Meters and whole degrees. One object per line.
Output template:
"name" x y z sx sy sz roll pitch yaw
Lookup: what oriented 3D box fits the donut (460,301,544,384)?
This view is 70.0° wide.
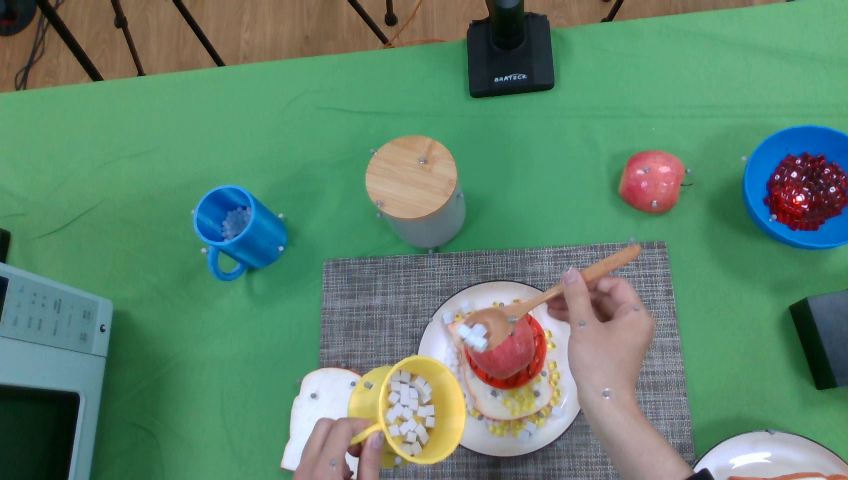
"donut" 0.092 0.121 0.712 0.099 0.048 0.098 -3 74 9

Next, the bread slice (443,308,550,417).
"bread slice" 0.096 0.146 0.740 0.107 0.018 0.133 -20 65 -1

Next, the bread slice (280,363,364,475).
"bread slice" -0.121 0.220 0.758 0.105 0.019 0.131 4 76 9

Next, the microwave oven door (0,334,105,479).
"microwave oven door" -0.463 0.285 0.658 0.039 0.245 0.353 -3 72 9

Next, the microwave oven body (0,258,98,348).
"microwave oven body" -0.606 0.254 0.696 0.325 0.262 0.439 -3 73 8

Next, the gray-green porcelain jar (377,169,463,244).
"gray-green porcelain jar" -0.006 -0.057 0.768 0.106 0.127 0.105 -3 72 9

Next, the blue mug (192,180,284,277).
"blue mug" -0.250 -0.007 0.803 0.082 0.106 0.116 17 77 14

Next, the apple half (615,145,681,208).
"apple half" 0.286 -0.086 0.768 0.074 0.054 0.080 18 77 17

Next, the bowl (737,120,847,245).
"bowl" 0.444 -0.058 0.720 0.151 0.077 0.150 -3 73 9

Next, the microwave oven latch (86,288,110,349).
"microwave oven latch" -0.447 0.106 0.817 0.030 0.030 0.078 0 74 9

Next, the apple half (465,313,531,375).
"apple half" 0.082 0.110 0.678 0.081 0.033 0.081 -5 70 14

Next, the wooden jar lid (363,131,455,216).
"wooden jar lid" -0.017 -0.076 0.708 0.108 0.021 0.107 -2 71 6

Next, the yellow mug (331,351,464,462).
"yellow mug" -0.031 0.168 0.586 0.131 0.064 0.099 -16 81 -38

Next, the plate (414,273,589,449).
"plate" 0.091 0.145 0.734 0.207 0.039 0.206 -3 73 9

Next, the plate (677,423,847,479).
"plate" 0.371 0.302 0.644 0.209 0.038 0.208 -3 73 9

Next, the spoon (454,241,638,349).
"spoon" 0.112 0.052 0.571 0.193 0.022 0.041 -31 70 23
